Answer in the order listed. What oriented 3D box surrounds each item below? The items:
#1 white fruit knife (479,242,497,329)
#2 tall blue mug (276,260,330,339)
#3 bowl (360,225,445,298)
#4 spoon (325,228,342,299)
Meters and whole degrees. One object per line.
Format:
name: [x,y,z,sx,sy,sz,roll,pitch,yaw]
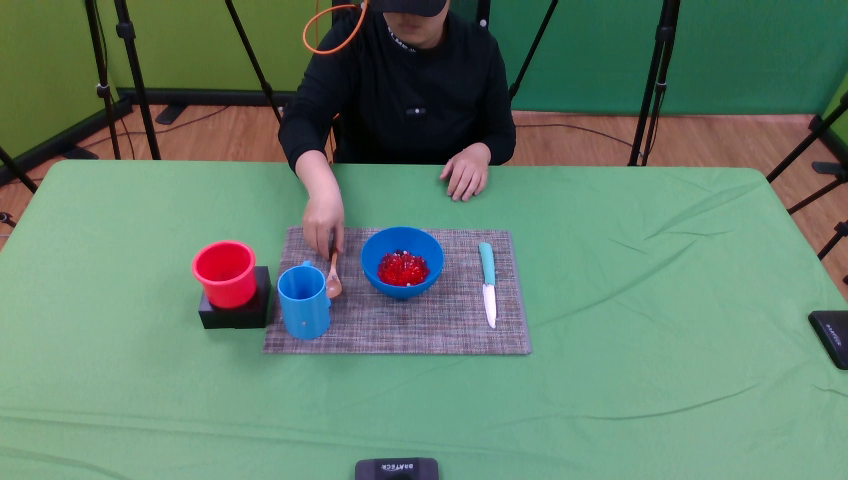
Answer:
white fruit knife: [0.122,0.080,1.130,0.027,0.016,0.206,-19,45,19]
tall blue mug: [-0.208,0.094,1.025,0.078,0.108,0.106,-21,51,-21]
bowl: [-0.040,0.053,1.099,0.151,0.077,0.150,2,46,-2]
spoon: [-0.169,0.041,1.140,0.041,0.022,0.192,-10,45,10]
